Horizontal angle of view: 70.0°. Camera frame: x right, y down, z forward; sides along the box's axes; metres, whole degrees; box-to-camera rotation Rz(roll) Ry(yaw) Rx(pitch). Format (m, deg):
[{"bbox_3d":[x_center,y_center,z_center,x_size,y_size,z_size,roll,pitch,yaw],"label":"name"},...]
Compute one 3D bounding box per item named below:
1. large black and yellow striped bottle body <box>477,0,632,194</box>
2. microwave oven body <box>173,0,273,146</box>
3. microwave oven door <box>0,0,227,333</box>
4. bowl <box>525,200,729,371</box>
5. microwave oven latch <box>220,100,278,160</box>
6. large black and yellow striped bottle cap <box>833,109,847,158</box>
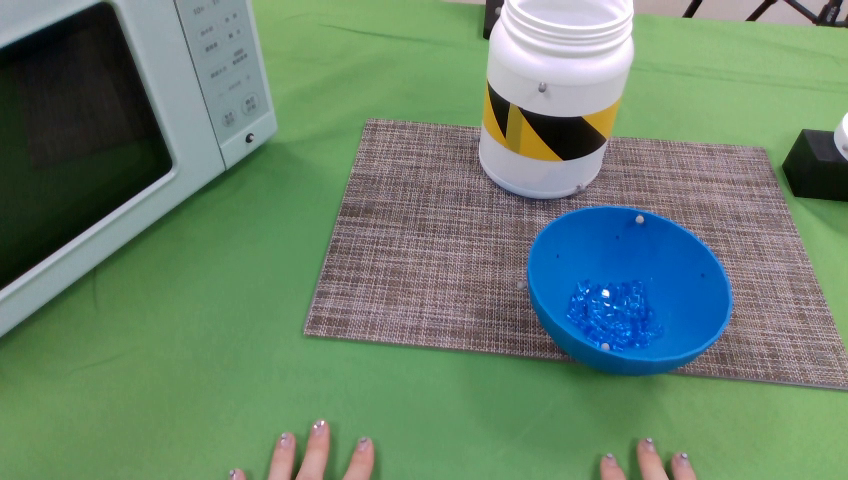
[{"bbox_3d":[0.123,-0.151,0.586,0.131,0.185,0.129,1,48,0],"label":"large black and yellow striped bottle body"},{"bbox_3d":[-0.409,-0.136,0.511,0.324,0.262,0.440,27,54,21],"label":"microwave oven body"},{"bbox_3d":[-0.311,-0.052,0.432,0.039,0.246,0.355,27,53,22],"label":"microwave oven door"},{"bbox_3d":[0.151,0.047,0.482,0.151,0.077,0.150,0,48,0],"label":"bowl"},{"bbox_3d":[-0.187,-0.118,0.630,0.030,0.030,0.079,29,55,22],"label":"microwave oven latch"},{"bbox_3d":[0.469,-0.097,0.596,0.115,0.019,0.114,0,48,0],"label":"large black and yellow striped bottle cap"}]
